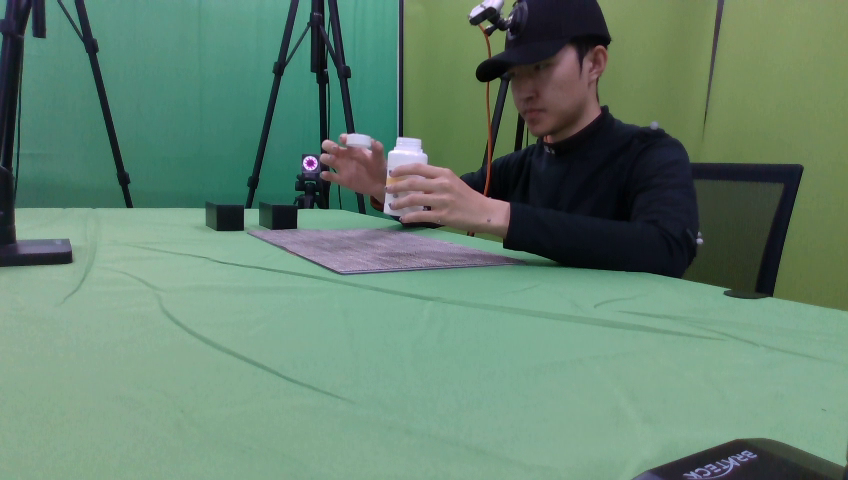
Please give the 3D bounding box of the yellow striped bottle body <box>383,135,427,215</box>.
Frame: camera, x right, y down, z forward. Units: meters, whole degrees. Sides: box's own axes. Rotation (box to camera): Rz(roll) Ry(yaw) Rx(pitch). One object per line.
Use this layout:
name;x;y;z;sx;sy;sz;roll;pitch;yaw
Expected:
yellow striped bottle body;-0.029;-0.101;0.937;0.063;0.120;0.063;4;6;0

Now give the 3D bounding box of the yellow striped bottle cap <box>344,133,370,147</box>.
yellow striped bottle cap;-0.116;-0.173;1.050;0.044;0.018;0.044;3;0;0
